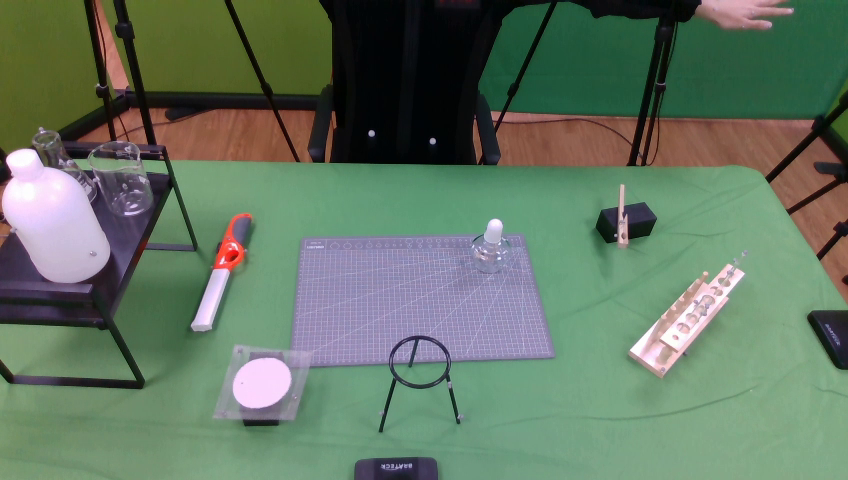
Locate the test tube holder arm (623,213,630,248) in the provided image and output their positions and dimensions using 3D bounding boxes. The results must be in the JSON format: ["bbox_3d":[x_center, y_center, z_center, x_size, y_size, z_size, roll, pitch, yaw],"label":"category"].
[{"bbox_3d":[0.392,-0.020,1.180,0.010,0.015,0.087,15,47,-1],"label":"test tube holder arm"}]

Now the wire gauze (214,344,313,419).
[{"bbox_3d":[-0.241,0.213,0.916,0.121,0.011,0.124,5,46,1],"label":"wire gauze"}]

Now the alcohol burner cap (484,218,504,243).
[{"bbox_3d":[0.130,-0.021,1.106,0.034,0.048,0.033,3,51,-4],"label":"alcohol burner cap"}]

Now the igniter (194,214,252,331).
[{"bbox_3d":[-0.367,0.050,1.119,0.057,0.025,0.275,-4,46,7],"label":"igniter"}]

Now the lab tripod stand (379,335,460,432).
[{"bbox_3d":[-0.011,0.214,0.911,0.148,0.132,0.147,1,45,0],"label":"lab tripod stand"}]

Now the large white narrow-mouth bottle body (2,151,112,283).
[{"bbox_3d":[-0.507,-0.036,0.825,0.102,0.195,0.101,2,46,-1],"label":"large white narrow-mouth bottle body"}]

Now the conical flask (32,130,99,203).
[{"bbox_3d":[-0.565,-0.110,0.944,0.075,0.122,0.075,2,46,-2],"label":"conical flask"}]

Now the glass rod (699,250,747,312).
[{"bbox_3d":[0.500,0.075,1.021,0.008,0.201,0.008,0,55,0],"label":"glass rod"}]

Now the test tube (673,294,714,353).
[{"bbox_3d":[0.428,0.137,0.978,0.017,0.151,0.017,4,47,-4],"label":"test tube"}]

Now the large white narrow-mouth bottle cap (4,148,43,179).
[{"bbox_3d":[-0.505,-0.096,0.764,0.038,0.024,0.037,2,46,-1],"label":"large white narrow-mouth bottle cap"}]

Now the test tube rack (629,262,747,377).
[{"bbox_3d":[0.464,0.126,1.060,0.242,0.085,0.066,-34,56,-31],"label":"test tube rack"}]

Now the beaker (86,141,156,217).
[{"bbox_3d":[-0.467,-0.092,0.949,0.084,0.101,0.073,15,47,11],"label":"beaker"}]

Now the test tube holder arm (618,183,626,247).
[{"bbox_3d":[0.395,-0.053,1.210,0.013,0.015,0.177,15,47,-1],"label":"test tube holder arm"}]

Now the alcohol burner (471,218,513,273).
[{"bbox_3d":[0.128,0.005,1.132,0.078,0.120,0.077,0,47,0],"label":"alcohol burner"}]
